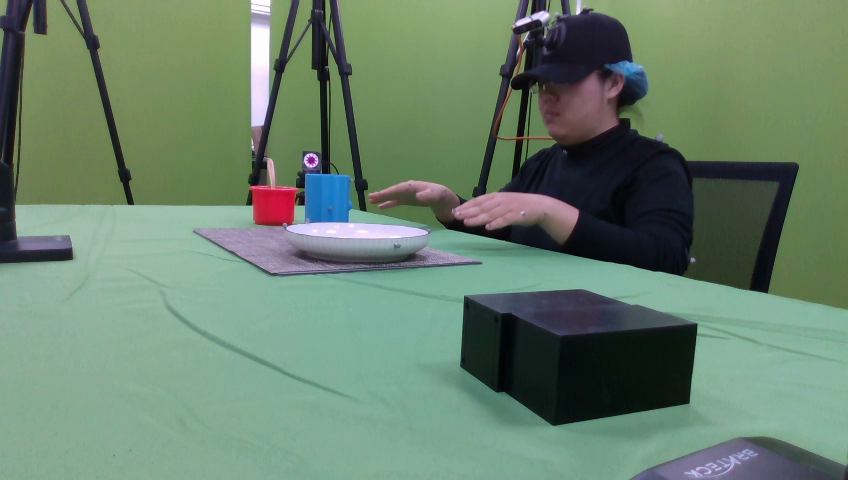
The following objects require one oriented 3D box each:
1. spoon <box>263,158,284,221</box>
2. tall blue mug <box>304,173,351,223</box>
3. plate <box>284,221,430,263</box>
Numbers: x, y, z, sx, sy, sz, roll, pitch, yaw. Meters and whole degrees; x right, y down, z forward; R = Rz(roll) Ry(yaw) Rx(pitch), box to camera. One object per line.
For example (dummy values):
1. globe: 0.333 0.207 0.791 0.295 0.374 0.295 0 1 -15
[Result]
1. spoon: -0.319 -0.110 1.274 0.042 0.021 0.193 3 51 -20
2. tall blue mug: -0.178 -0.063 1.062 0.078 0.108 0.106 -4 10 -38
3. plate: -0.095 0.002 0.870 0.208 0.039 0.207 2 7 0
